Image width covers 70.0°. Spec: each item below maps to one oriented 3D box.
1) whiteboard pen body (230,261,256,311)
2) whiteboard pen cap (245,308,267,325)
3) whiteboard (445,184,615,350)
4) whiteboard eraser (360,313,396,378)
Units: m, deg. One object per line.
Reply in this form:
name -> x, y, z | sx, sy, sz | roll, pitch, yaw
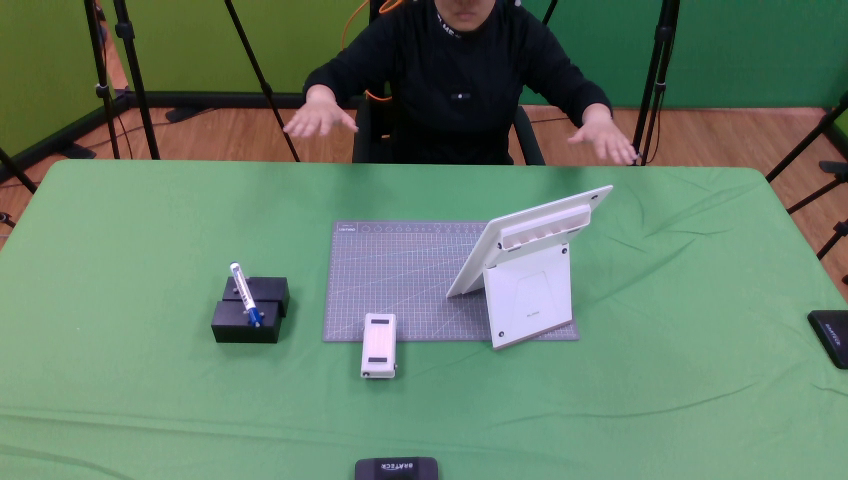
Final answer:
whiteboard pen body -> -0.303, 0.086, 1.025 | 0.017, 0.017, 0.140 | -18, 50, -20
whiteboard pen cap -> -0.273, 0.126, 0.987 | 0.033, 0.018, 0.018 | 30, 49, 0
whiteboard -> 0.186, 0.065, 0.989 | 0.217, 0.306, 0.143 | -15, 68, -18
whiteboard eraser -> -0.075, 0.176, 1.006 | 0.055, 0.042, 0.112 | 3, 50, -4
